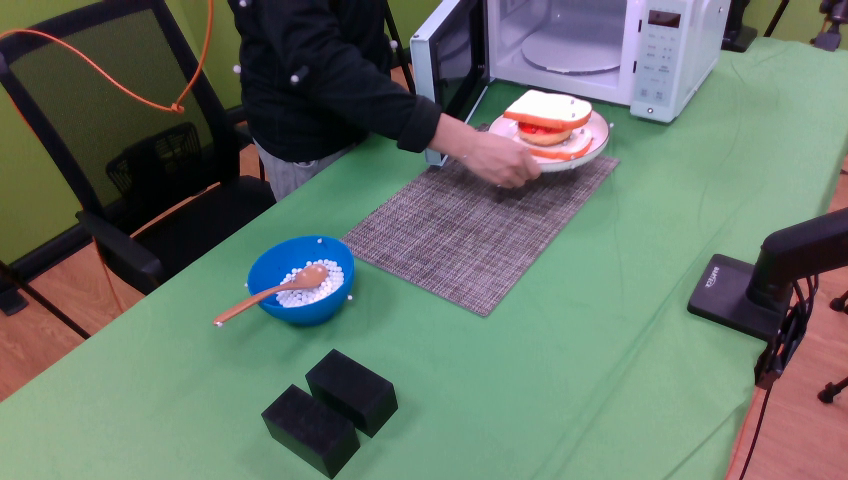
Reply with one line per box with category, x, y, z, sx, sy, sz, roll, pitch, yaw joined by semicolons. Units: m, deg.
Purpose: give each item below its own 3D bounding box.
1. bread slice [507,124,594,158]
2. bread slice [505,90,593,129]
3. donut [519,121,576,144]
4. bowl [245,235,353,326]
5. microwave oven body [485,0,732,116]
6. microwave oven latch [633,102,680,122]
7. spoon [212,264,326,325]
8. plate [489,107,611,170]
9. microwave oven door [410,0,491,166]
bread slice;0.225;-0.181;1.053;0.133;0.018;0.107;14;47;22
bread slice;0.217;-0.220;1.015;0.130;0.019;0.105;17;40;25
donut;0.213;-0.200;1.038;0.099;0.048;0.098;-6;41;6
bowl;-0.170;0.070;0.868;0.151;0.077;0.150;-4;41;4
microwave oven body;0.377;-0.463;1.267;0.438;0.261;0.327;21;49;30
microwave oven latch;0.444;-0.249;1.157;0.078;0.029;0.030;21;49;30
spoon;-0.207;0.072;0.822;0.041;0.021;0.195;26;29;27
plate;0.219;-0.179;1.056;0.207;0.039;0.206;-5;40;5
microwave oven door;0.062;-0.342;1.164;0.039;0.245;0.355;9;43;18
